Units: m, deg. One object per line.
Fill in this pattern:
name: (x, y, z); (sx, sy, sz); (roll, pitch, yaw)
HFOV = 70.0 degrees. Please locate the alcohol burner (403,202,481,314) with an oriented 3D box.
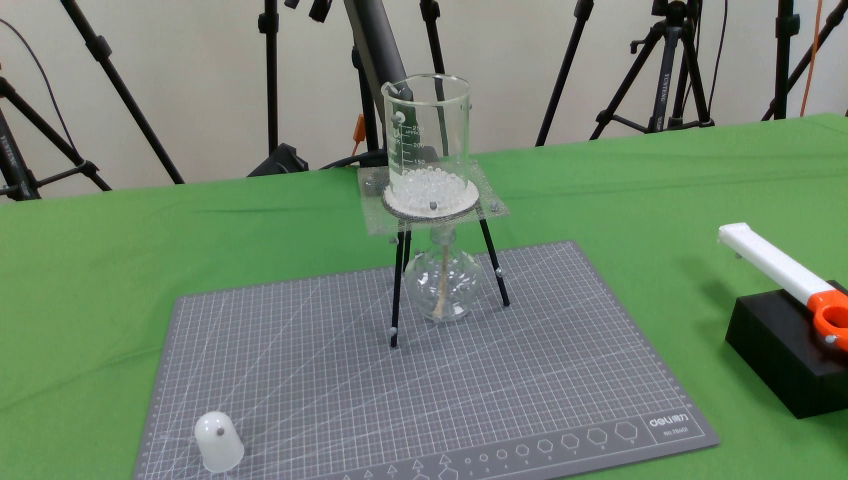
alcohol burner: (0.018, 0.013, 0.588); (0.078, 0.120, 0.077); (0, 36, 1)

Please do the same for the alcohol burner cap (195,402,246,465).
alcohol burner cap: (-0.159, 0.146, 0.468); (0.034, 0.048, 0.033); (-1, 35, 1)

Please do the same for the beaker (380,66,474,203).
beaker: (0.000, -0.089, 0.519); (0.074, 0.101, 0.083); (-29, 42, -35)

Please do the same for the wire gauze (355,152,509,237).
wire gauze: (0.002, -0.048, 0.545); (0.121, 0.011, 0.123); (-8, 36, -7)

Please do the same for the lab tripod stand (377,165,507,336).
lab tripod stand: (0.009, 0.004, 0.585); (0.148, 0.132, 0.147); (-1, 33, 1)

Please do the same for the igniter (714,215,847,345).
igniter: (0.341, 0.050, 0.512); (0.057, 0.025, 0.273); (-9, 31, -8)
